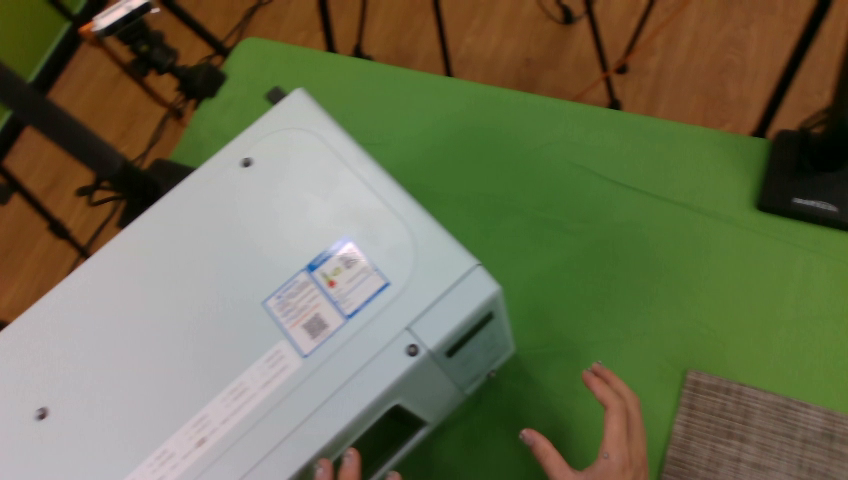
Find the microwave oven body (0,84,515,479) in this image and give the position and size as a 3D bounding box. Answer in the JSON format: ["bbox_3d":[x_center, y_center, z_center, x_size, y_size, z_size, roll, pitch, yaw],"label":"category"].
[{"bbox_3d":[-0.176,0.119,0.637,0.441,0.262,0.323,-42,67,-6],"label":"microwave oven body"}]

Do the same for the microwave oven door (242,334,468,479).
[{"bbox_3d":[-0.114,0.239,0.569,0.355,0.246,0.039,-42,65,-7],"label":"microwave oven door"}]

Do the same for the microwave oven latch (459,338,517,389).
[{"bbox_3d":[0.070,0.133,0.687,0.079,0.030,0.030,-40,66,-5],"label":"microwave oven latch"}]
